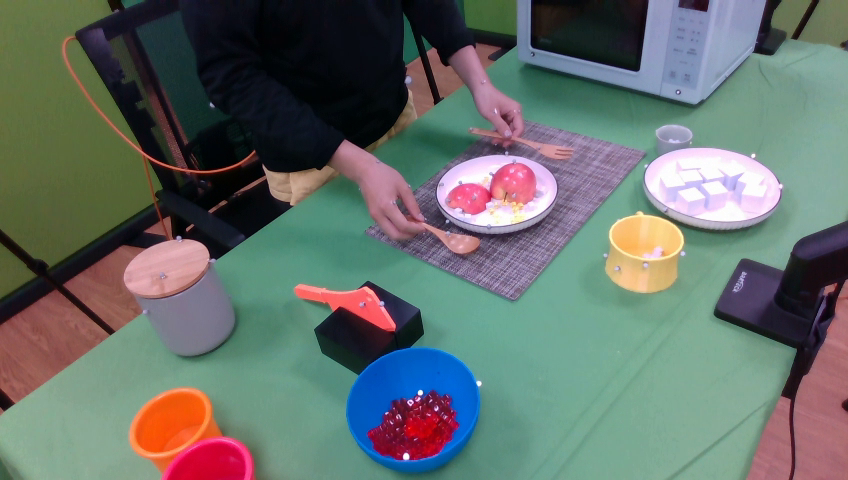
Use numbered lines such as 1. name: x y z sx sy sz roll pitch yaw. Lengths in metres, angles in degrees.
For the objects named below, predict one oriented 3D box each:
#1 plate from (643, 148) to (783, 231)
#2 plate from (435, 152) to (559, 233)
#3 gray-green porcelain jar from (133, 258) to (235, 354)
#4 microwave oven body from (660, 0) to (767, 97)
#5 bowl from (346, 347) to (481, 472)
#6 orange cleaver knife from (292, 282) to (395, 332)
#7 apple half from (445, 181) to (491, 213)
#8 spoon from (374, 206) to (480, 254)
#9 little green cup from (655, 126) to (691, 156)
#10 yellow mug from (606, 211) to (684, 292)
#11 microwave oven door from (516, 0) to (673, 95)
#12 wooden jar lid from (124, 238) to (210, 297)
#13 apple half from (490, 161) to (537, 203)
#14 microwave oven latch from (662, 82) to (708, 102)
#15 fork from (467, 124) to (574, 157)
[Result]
1. plate: 0.464 -0.080 0.986 0.207 0.039 0.206 -4 41 4
2. plate: 0.123 -0.078 1.026 0.209 0.038 0.208 -4 40 4
3. gray-green porcelain jar: -0.328 0.086 0.836 0.106 0.127 0.105 -4 41 4
4. microwave oven body: 0.474 -0.516 1.313 0.438 0.261 0.327 26 51 34
5. bowl: -0.008 0.205 0.691 0.151 0.077 0.150 -4 40 4
6. orange cleaver knife: -0.116 0.091 0.835 0.209 0.077 0.012 2 32 48
7. apple half: 0.077 -0.083 1.029 0.081 0.033 0.081 -2 41 2
8. spoon: 0.001 -0.022 0.955 0.192 0.022 0.041 25 58 22
9. little green cup: 0.450 -0.177 1.099 0.061 0.039 0.061 -5 39 4
10. yellow mug: 0.318 0.007 0.883 0.100 0.064 0.130 0 41 8
11. microwave oven door: 0.344 -0.458 1.257 0.353 0.245 0.039 26 51 33
12. wooden jar lid: -0.335 0.039 0.794 0.108 0.021 0.108 -2 40 2
13. apple half: 0.154 -0.106 1.030 0.080 0.053 0.075 22 46 31
14. microwave oven latch: 0.518 -0.298 1.202 0.078 0.029 0.030 28 53 35
15. fork: 0.174 -0.186 1.113 0.206 0.019 0.028 18 88 17
